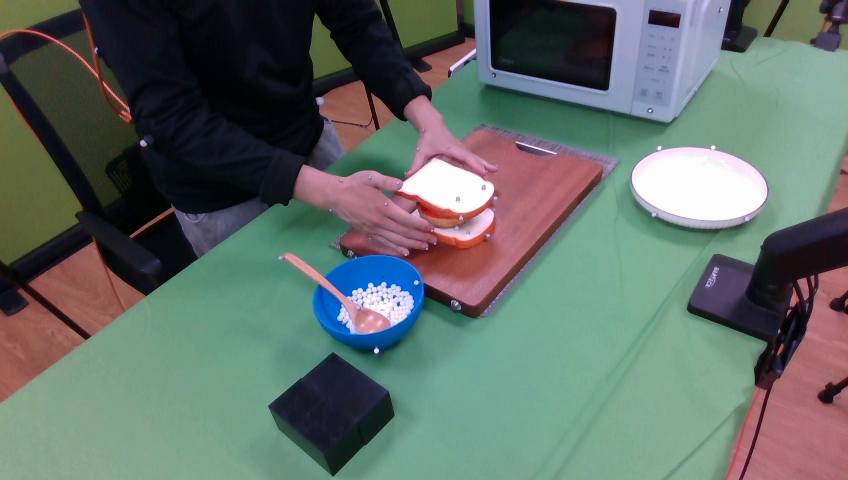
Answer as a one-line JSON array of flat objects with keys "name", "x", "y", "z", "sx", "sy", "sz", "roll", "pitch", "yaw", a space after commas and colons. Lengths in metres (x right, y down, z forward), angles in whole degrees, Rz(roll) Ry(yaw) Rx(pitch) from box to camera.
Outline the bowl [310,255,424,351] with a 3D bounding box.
[{"name": "bowl", "x": -0.071, "y": 0.098, "z": 0.821, "sx": 0.151, "sy": 0.077, "sz": 0.150, "roll": -4, "pitch": 40, "yaw": 4}]

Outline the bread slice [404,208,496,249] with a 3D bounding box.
[{"name": "bread slice", "x": 0.048, "y": -0.034, "z": 0.961, "sx": 0.130, "sy": 0.019, "sz": 0.105, "roll": 22, "pitch": 49, "yaw": 32}]

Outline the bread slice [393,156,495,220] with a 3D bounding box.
[{"name": "bread slice", "x": 0.038, "y": -0.078, "z": 0.920, "sx": 0.133, "sy": 0.018, "sz": 0.107, "roll": 24, "pitch": 49, "yaw": 24}]

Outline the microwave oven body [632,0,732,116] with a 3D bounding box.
[{"name": "microwave oven body", "x": 0.377, "y": -0.462, "z": 1.267, "sx": 0.438, "sy": 0.261, "sz": 0.327, "roll": 21, "pitch": 49, "yaw": 30}]

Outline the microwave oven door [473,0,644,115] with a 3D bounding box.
[{"name": "microwave oven door", "x": 0.257, "y": -0.396, "z": 1.199, "sx": 0.353, "sy": 0.245, "sz": 0.039, "roll": 21, "pitch": 48, "yaw": 29}]

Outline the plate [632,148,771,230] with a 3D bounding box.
[{"name": "plate", "x": 0.447, "y": -0.081, "z": 0.988, "sx": 0.207, "sy": 0.039, "sz": 0.206, "roll": -4, "pitch": 40, "yaw": 4}]

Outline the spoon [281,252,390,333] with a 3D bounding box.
[{"name": "spoon", "x": -0.122, "y": 0.070, "z": 0.811, "sx": 0.193, "sy": 0.022, "sz": 0.042, "roll": 38, "pitch": 63, "yaw": 16}]

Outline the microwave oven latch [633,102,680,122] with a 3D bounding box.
[{"name": "microwave oven latch", "x": 0.444, "y": -0.249, "z": 1.157, "sx": 0.078, "sy": 0.029, "sz": 0.030, "roll": 21, "pitch": 49, "yaw": 30}]

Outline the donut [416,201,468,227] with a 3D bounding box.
[{"name": "donut", "x": 0.036, "y": -0.058, "z": 0.943, "sx": 0.099, "sy": 0.048, "sz": 0.098, "roll": -5, "pitch": 40, "yaw": 5}]
